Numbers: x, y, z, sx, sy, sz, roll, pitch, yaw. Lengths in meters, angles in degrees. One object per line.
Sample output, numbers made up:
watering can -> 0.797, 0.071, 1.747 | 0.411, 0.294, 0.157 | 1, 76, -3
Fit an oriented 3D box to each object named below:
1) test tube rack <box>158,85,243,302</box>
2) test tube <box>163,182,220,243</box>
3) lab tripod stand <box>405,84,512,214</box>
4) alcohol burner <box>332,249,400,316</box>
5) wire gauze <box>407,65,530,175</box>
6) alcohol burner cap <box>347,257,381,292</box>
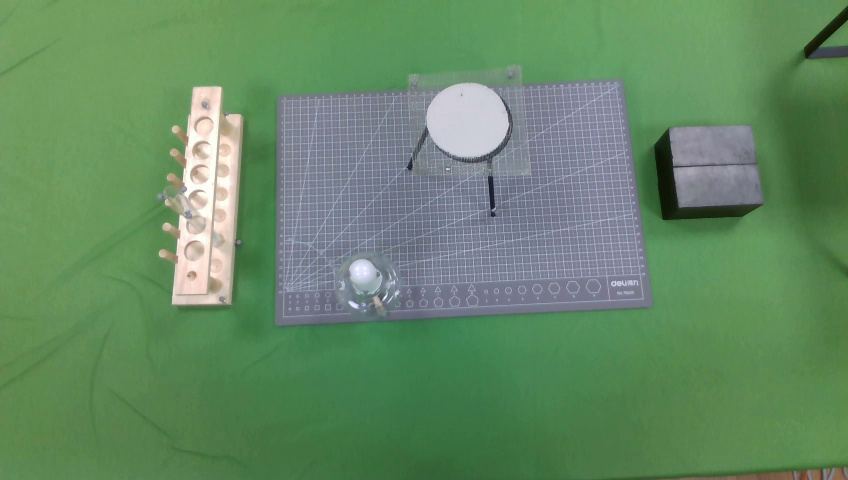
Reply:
test tube rack -> -0.266, -0.052, 0.713 | 0.067, 0.085, 0.241 | 0, 77, 0
test tube -> -0.248, -0.025, 0.656 | 0.017, 0.151, 0.017 | 1, 71, -2
lab tripod stand -> 0.049, -0.113, 0.700 | 0.148, 0.132, 0.147 | 0, 74, 1
alcohol burner -> -0.065, 0.044, 0.673 | 0.078, 0.119, 0.077 | 0, 75, -1
wire gauze -> 0.045, -0.125, 0.635 | 0.125, 0.011, 0.121 | -2, 77, 0
alcohol burner cap -> -0.065, 0.035, 0.638 | 0.034, 0.048, 0.033 | -1, 73, 5
